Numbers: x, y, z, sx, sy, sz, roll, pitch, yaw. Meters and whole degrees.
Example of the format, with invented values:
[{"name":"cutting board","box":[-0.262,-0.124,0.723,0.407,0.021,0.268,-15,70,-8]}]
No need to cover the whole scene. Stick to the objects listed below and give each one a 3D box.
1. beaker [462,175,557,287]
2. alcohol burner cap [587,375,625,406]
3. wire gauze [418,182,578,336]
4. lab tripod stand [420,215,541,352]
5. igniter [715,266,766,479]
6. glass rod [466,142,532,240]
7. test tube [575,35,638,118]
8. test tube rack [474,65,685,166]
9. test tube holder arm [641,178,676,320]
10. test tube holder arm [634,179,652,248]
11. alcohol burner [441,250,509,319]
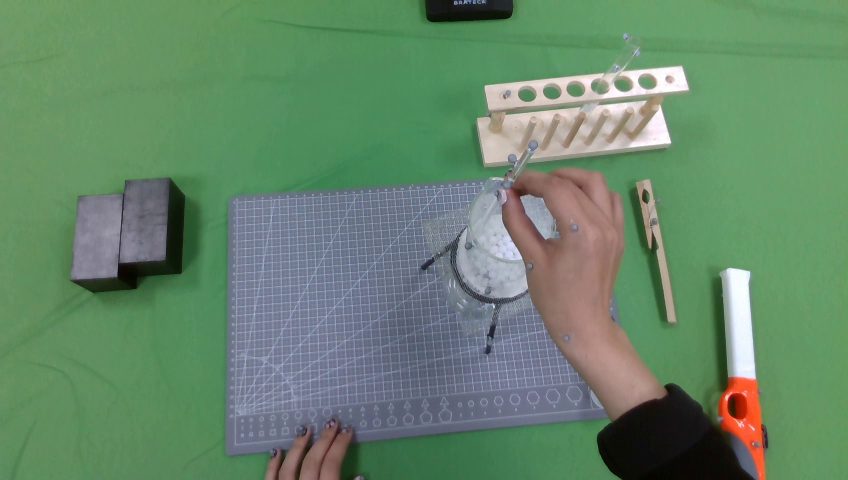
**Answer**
[{"name":"beaker","box":[0.070,-0.004,0.546,0.074,0.101,0.083,-19,72,-7]},{"name":"alcohol burner cap","box":[0.202,0.163,0.664,0.034,0.048,0.033,1,70,-2]},{"name":"wire gauze","box":[0.071,0.014,0.590,0.121,0.011,0.124,-21,75,-6]},{"name":"lab tripod stand","box":[0.063,0.038,0.652,0.148,0.132,0.147,0,72,-1]},{"name":"igniter","box":[0.353,0.163,0.682,0.057,0.025,0.275,10,71,-10]},{"name":"glass rod","box":[0.056,-0.033,0.495,0.008,0.200,0.008,2,72,-7]},{"name":"test tube","box":[0.210,-0.186,0.710,0.017,0.151,0.017,3,70,-8]},{"name":"test tube rack","box":[0.191,-0.153,0.750,0.242,0.085,0.066,-7,71,-5]},{"name":"test tube holder arm","box":[0.282,0.008,0.734,0.013,0.015,0.177,-16,70,28]},{"name":"test tube holder arm","box":[0.273,-0.033,0.750,0.010,0.015,0.087,-15,70,29]},{"name":"alcohol burner","box":[0.057,0.043,0.660,0.078,0.120,0.077,1,69,-1]}]
